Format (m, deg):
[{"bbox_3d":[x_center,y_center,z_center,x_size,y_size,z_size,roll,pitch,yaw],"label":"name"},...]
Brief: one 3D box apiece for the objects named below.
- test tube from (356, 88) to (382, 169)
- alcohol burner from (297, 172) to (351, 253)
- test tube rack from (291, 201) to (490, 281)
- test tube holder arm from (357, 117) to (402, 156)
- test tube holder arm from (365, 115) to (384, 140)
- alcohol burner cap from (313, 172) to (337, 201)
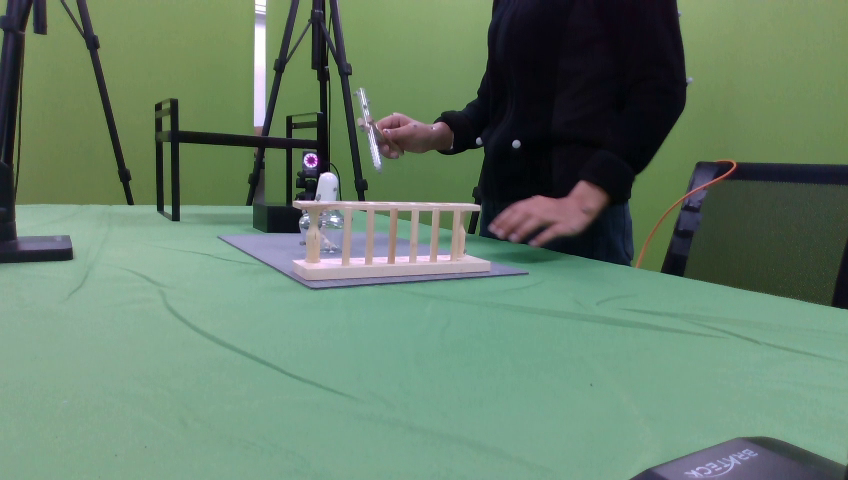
[{"bbox_3d":[-0.093,-0.190,1.026,0.017,0.150,0.017,-13,-13,-3],"label":"test tube"},{"bbox_3d":[-0.146,-0.040,0.894,0.078,0.119,0.078,5,7,0],"label":"alcohol burner"},{"bbox_3d":[-0.035,-0.002,0.745,0.243,0.085,0.066,-1,8,-28],"label":"test tube rack"},{"bbox_3d":[-0.078,-0.184,1.093,0.013,0.015,0.179,-12,-13,16],"label":"test tube holder arm"},{"bbox_3d":[-0.085,-0.193,1.049,0.010,0.015,0.088,-10,-13,9],"label":"test tube holder arm"},{"bbox_3d":[-0.144,-0.076,0.888,0.034,0.048,0.034,8,6,-1],"label":"alcohol burner cap"}]
